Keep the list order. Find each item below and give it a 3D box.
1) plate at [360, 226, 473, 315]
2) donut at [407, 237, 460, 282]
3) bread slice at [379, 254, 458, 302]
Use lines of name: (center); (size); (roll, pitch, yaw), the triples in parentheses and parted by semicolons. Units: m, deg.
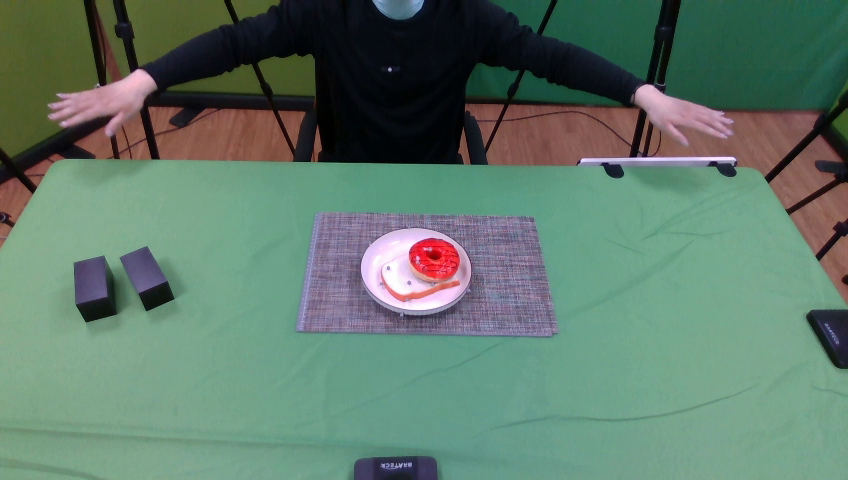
plate: (-0.013, 0.059, 1.124); (0.208, 0.039, 0.206); (2, 46, -2)
donut: (0.017, 0.037, 1.109); (0.099, 0.048, 0.098); (5, 44, -4)
bread slice: (-0.014, 0.064, 1.123); (0.132, 0.019, 0.104); (-17, 50, -22)
